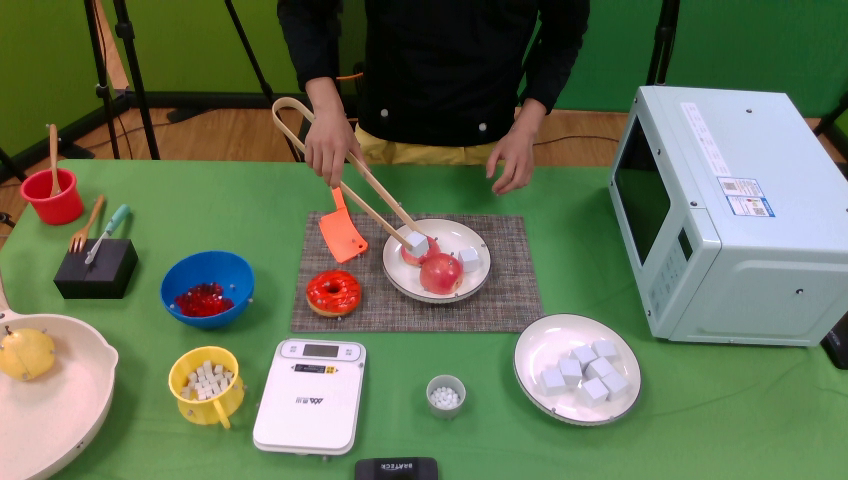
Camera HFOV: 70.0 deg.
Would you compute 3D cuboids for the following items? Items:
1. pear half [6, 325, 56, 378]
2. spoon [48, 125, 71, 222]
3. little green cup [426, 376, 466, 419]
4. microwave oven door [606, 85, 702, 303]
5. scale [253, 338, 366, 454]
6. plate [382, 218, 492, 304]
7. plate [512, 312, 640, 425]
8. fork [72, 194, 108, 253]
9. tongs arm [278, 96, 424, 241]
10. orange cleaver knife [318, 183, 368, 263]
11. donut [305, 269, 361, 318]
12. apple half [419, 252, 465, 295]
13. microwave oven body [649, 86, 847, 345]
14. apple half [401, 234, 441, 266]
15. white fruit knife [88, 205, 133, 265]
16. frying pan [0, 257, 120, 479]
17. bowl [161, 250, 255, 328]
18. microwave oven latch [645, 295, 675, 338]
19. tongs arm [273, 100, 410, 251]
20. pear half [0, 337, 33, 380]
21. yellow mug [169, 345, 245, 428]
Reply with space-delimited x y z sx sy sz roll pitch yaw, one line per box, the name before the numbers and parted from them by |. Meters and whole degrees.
pear half | -0.608 0.158 0.935 0.076 0.110 0.056 31 51 20
spoon | -0.718 -0.131 1.188 0.041 0.021 0.193 -3 90 -7
little green cup | 0.033 0.248 0.950 0.061 0.039 0.061 2 46 -2
microwave oven door | 0.423 -0.094 1.140 0.039 0.245 0.353 2 46 -1
scale | -0.175 0.236 0.951 0.149 0.032 0.199 4 45 -1
plate | 0.023 0.042 1.143 0.209 0.038 0.208 2 46 -2
plate | 0.246 0.213 0.999 0.208 0.039 0.206 2 46 -2
fork | -0.634 -0.036 1.158 0.028 0.019 0.206 -8 32 -8
tongs arm | -0.141 -0.134 1.123 0.051 0.026 0.383 -35 75 -23
orange cleaver knife | -0.173 -0.038 1.218 0.077 0.012 0.210 -17 51 -11
donut | -0.160 0.094 1.075 0.099 0.048 0.098 4 45 -3
apple half | 0.035 0.055 1.109 0.074 0.053 0.081 38 55 25
microwave oven body | 0.567 -0.053 1.118 0.326 0.261 0.439 2 45 -1
apple half | -0.005 0.014 1.159 0.081 0.033 0.081 6 44 -5
white fruit knife | -0.584 -0.013 1.129 0.016 0.027 0.206 0 32 -5
frying pan | -0.647 0.164 0.936 0.307 0.103 0.485 -19 58 -22
bowl | -0.362 0.098 1.039 0.151 0.077 0.150 2 45 -2
microwave oven latch | 0.411 0.134 1.061 0.030 0.029 0.078 3 45 0
tongs arm | -0.158 -0.120 1.113 0.028 0.028 0.386 -40 77 -20
pear half | -0.631 0.184 0.921 0.070 0.088 0.031 29 49 19
yellow mug | -0.322 0.230 0.922 0.100 0.064 0.130 -24 53 -25
